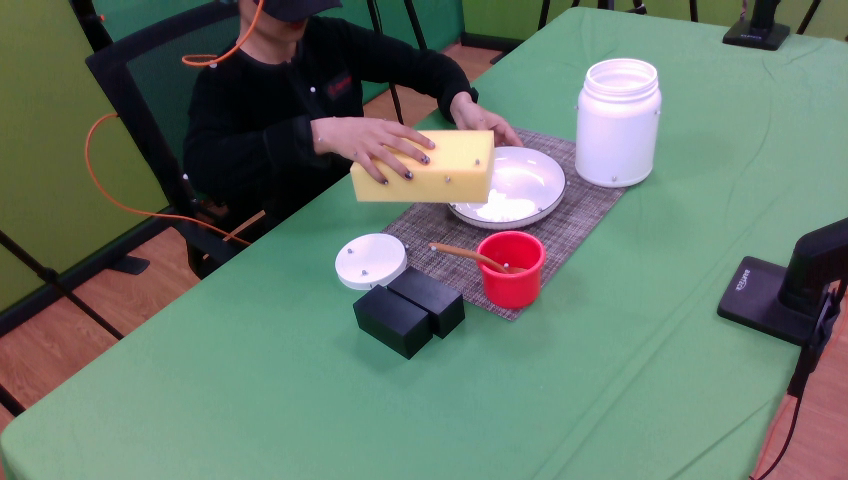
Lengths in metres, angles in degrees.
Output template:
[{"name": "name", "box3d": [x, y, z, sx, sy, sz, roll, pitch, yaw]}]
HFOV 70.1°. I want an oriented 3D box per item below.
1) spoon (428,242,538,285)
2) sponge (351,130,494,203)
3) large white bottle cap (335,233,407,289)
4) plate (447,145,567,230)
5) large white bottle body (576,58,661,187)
[{"name": "spoon", "box3d": [0.085, 0.030, 0.831, 0.195, 0.021, 0.041, 22, 26, -34]}, {"name": "sponge", "box3d": [0.003, -0.117, 0.945, 0.206, 0.061, 0.118, 2, 40, 9]}, {"name": "large white bottle cap", "box3d": [-0.084, 0.031, 0.961, 0.115, 0.018, 0.114, -6, 42, 6]}, {"name": "plate", "box3d": [0.138, -0.087, 1.034, 0.209, 0.038, 0.208, -6, 44, 6]}, {"name": "large white bottle body", "box3d": [0.326, -0.197, 1.021, 0.130, 0.185, 0.130, -5, 40, 5]}]
